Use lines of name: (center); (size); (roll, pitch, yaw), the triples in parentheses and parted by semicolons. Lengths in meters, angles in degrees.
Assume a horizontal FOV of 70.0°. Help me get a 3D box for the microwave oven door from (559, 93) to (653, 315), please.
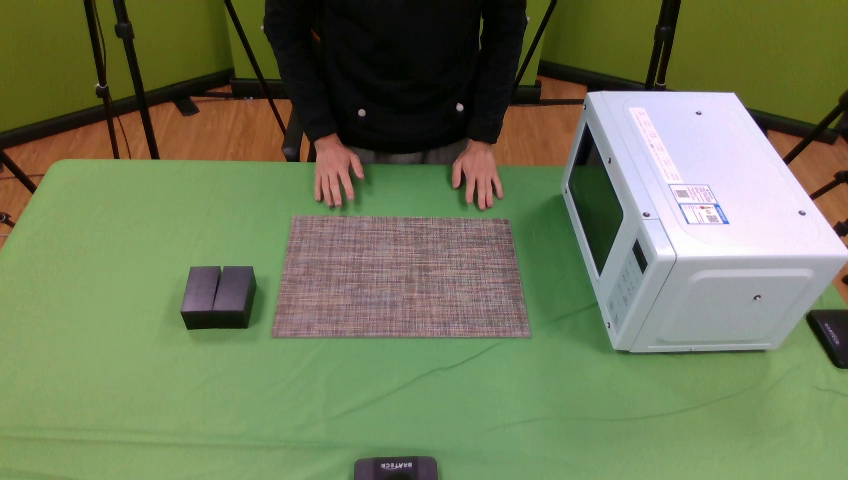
microwave oven door: (0.327, -0.074, 1.123); (0.039, 0.245, 0.353); (-1, 46, -5)

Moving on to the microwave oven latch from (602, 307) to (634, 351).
microwave oven latch: (0.332, 0.153, 1.044); (0.030, 0.029, 0.078); (0, 45, -4)

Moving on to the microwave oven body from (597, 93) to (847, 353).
microwave oven body: (0.475, -0.041, 1.109); (0.326, 0.261, 0.438); (-1, 45, -4)
